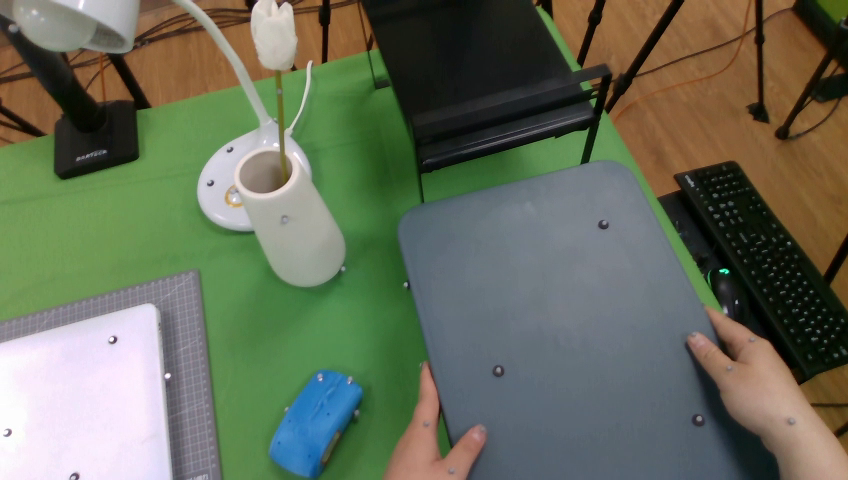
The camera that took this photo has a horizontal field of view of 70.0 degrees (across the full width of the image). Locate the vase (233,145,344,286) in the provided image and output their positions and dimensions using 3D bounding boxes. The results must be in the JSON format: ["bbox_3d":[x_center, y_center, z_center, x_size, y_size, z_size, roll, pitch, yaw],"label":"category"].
[{"bbox_3d":[-0.158,-0.025,0.713,0.098,0.202,0.097,-3,60,5],"label":"vase"}]

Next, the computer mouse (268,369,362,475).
[{"bbox_3d":[-0.122,0.199,0.678,0.062,0.041,0.116,21,60,18],"label":"computer mouse"}]

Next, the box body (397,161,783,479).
[{"bbox_3d":[0.138,0.127,0.629,0.254,0.162,0.360,-14,61,-3],"label":"box body"}]

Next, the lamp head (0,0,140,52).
[{"bbox_3d":[-0.286,-0.232,0.505,0.112,0.113,0.122,11,80,10],"label":"lamp head"}]

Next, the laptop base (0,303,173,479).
[{"bbox_3d":[-0.471,0.223,0.699,0.354,0.023,0.233,-16,64,-5],"label":"laptop base"}]

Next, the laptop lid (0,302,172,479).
[{"bbox_3d":[-0.471,0.220,0.688,0.357,0.013,0.239,-14,63,-4],"label":"laptop lid"}]

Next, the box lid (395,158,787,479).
[{"bbox_3d":[0.132,0.088,0.565,0.263,0.015,0.367,-14,61,-4],"label":"box lid"}]

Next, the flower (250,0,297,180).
[{"bbox_3d":[-0.150,-0.077,0.646,0.038,0.364,0.043,-20,50,-26],"label":"flower"}]

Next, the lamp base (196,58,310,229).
[{"bbox_3d":[-0.241,-0.133,0.790,0.160,0.182,0.178,14,60,12],"label":"lamp base"}]
